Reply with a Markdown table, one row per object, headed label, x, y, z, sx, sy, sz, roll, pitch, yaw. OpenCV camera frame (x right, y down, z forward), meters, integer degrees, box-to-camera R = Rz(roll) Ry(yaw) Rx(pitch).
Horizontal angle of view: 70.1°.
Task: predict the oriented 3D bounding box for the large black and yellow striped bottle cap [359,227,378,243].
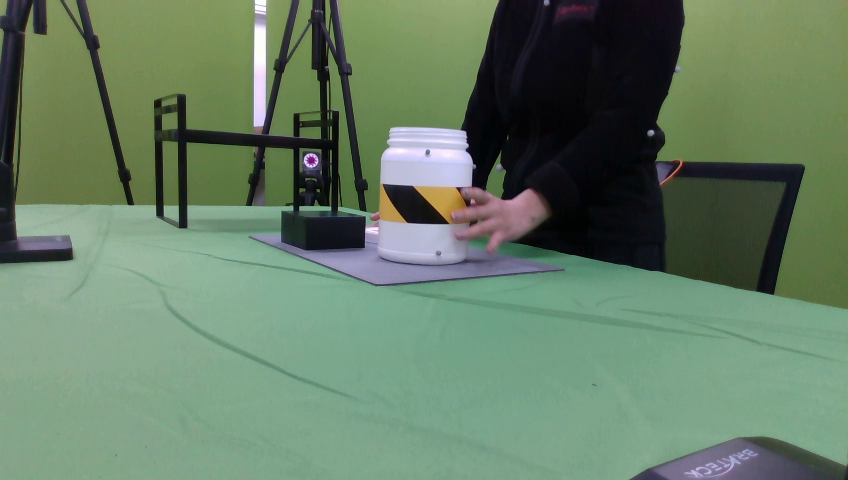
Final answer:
| label | x | y | z | sx | sy | sz | roll | pitch | yaw |
| --- | --- | --- | --- | --- | --- | --- | --- | --- | --- |
| large black and yellow striped bottle cap | -0.055 | -0.010 | 1.052 | 0.115 | 0.019 | 0.115 | 1 | 7 | 0 |

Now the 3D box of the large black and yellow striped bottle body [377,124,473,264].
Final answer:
| label | x | y | z | sx | sy | sz | roll | pitch | yaw |
| --- | --- | --- | --- | --- | --- | --- | --- | --- | --- |
| large black and yellow striped bottle body | 0.001 | -0.066 | 0.851 | 0.131 | 0.184 | 0.130 | 2 | 7 | 0 |
